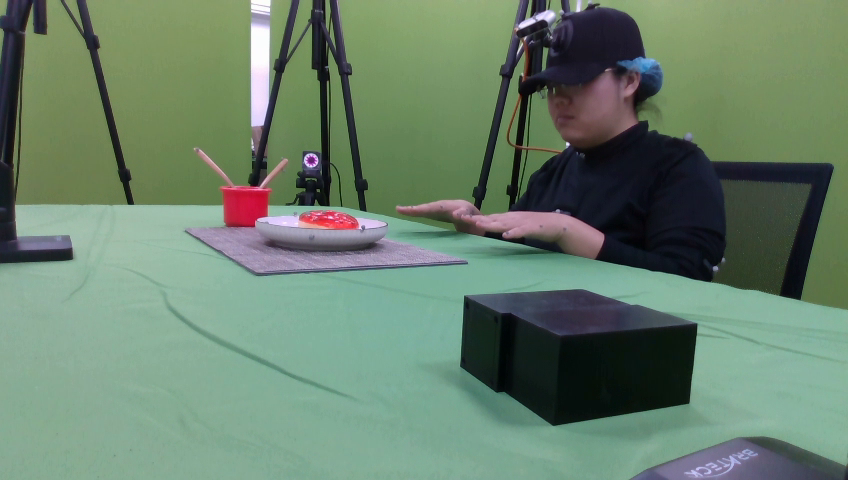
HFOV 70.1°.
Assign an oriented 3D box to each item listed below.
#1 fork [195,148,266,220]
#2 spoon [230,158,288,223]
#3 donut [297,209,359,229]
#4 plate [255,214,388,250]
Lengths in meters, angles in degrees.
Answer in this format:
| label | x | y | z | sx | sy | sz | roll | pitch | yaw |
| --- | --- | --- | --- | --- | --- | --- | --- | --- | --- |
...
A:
| label | x | y | z | sx | sy | sz | roll | pitch | yaw |
| --- | --- | --- | --- | --- | --- | --- | --- | --- | --- |
| fork | -0.386 | -0.110 | 1.199 | 0.028 | 0.207 | 0.018 | -38 | -6 | -39 |
| spoon | -0.322 | -0.101 | 1.206 | 0.041 | 0.022 | 0.194 | 13 | 55 | 22 |
| donut | -0.151 | -0.023 | 0.955 | 0.099 | 0.048 | 0.099 | 6 | 7 | 0 |
| plate | -0.161 | -0.013 | 0.961 | 0.209 | 0.038 | 0.209 | 2 | 7 | 0 |
